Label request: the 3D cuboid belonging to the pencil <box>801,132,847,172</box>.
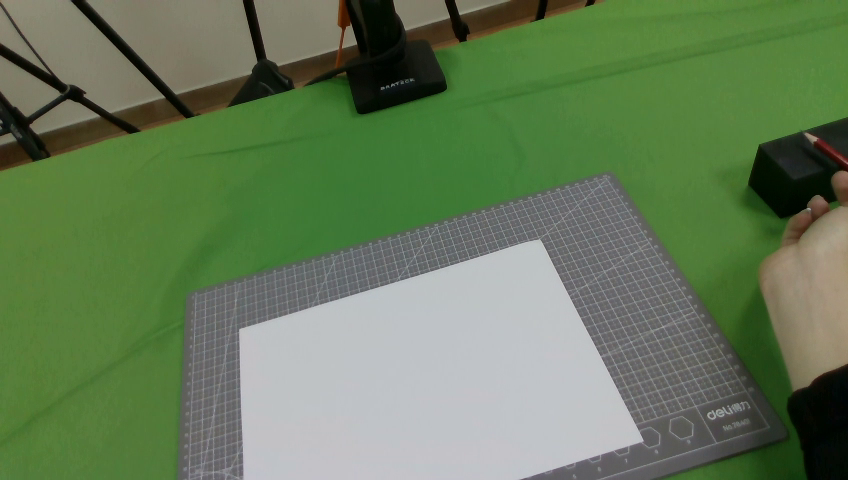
[{"bbox_3d":[0.369,-0.031,0.474,0.012,0.012,0.192,-22,49,-6],"label":"pencil"}]
